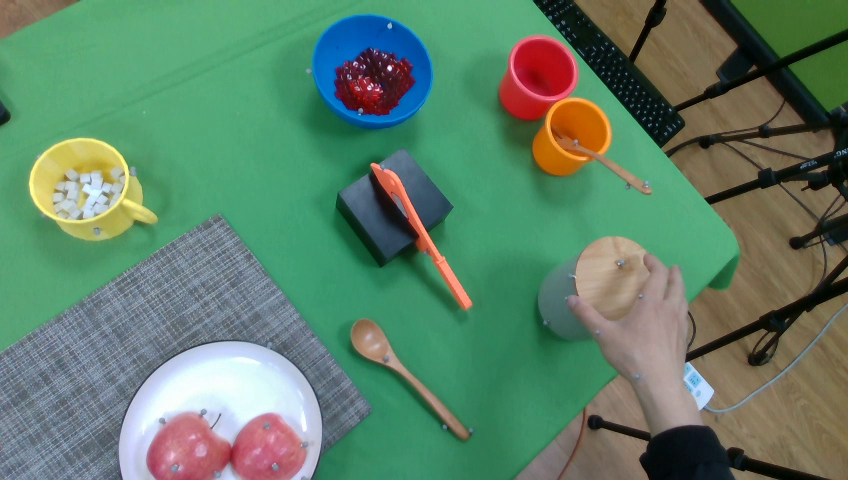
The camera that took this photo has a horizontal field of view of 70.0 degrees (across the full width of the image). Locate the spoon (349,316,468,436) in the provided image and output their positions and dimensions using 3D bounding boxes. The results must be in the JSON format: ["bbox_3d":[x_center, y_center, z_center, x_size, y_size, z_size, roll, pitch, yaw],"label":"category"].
[{"bbox_3d":[-0.017,0.165,0.721,0.193,0.022,0.041,44,51,2],"label":"spoon"}]

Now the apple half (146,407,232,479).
[{"bbox_3d":[-0.247,0.217,0.629,0.074,0.053,0.080,-40,86,-16],"label":"apple half"}]

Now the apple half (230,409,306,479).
[{"bbox_3d":[-0.170,0.225,0.653,0.081,0.033,0.081,3,73,-9],"label":"apple half"}]

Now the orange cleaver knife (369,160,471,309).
[{"bbox_3d":[-0.005,-0.006,0.739,0.012,0.076,0.212,-36,108,-15],"label":"orange cleaver knife"}]

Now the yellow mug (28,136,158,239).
[{"bbox_3d":[-0.364,-0.052,0.683,0.131,0.064,0.099,24,71,-6],"label":"yellow mug"}]

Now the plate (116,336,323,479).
[{"bbox_3d":[-0.215,0.210,0.654,0.210,0.038,0.208,3,75,-12],"label":"plate"}]

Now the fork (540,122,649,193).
[{"bbox_3d":[0.215,-0.109,0.779,0.028,0.019,0.205,-20,36,-18],"label":"fork"}]

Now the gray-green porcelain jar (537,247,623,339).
[{"bbox_3d":[0.203,0.064,0.741,0.106,0.127,0.105,3,74,-11],"label":"gray-green porcelain jar"}]

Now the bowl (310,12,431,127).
[{"bbox_3d":[-0.072,-0.205,0.781,0.152,0.077,0.150,3,75,-11],"label":"bowl"}]

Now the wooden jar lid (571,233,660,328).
[{"bbox_3d":[0.214,0.047,0.683,0.109,0.021,0.108,3,77,-13],"label":"wooden jar lid"}]
